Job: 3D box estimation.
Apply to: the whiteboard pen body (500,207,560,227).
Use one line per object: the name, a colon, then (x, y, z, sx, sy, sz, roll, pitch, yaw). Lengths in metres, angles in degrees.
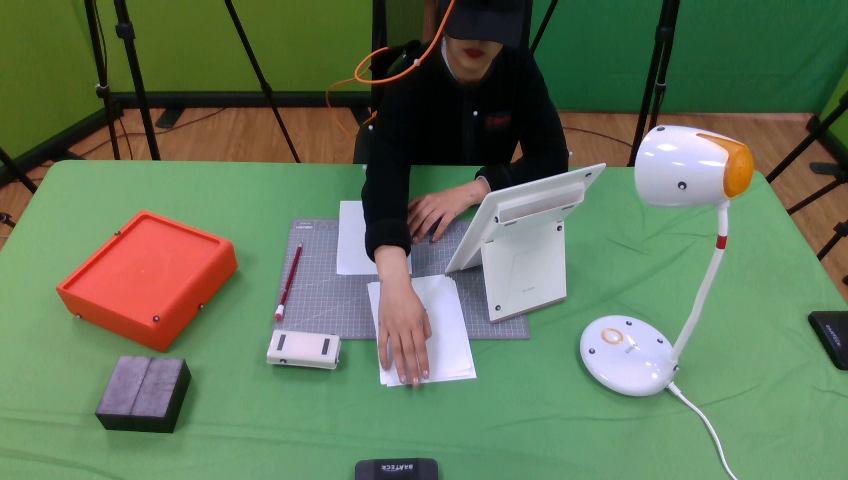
whiteboard pen body: (0.222, -0.051, 1.260, 0.141, 0.017, 0.017, -15, 49, -16)

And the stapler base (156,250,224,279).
stapler base: (-0.431, 0.040, 1.110, 0.130, 0.024, 0.041, 11, 38, 17)

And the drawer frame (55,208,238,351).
drawer frame: (-0.474, 0.062, 1.059, 0.201, 0.083, 0.213, 18, 48, 12)

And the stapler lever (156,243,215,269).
stapler lever: (-0.432, 0.023, 1.097, 0.118, 0.040, 0.026, 14, 39, 14)

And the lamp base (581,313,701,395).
lamp base: (0.361, 0.144, 0.973, 0.178, 0.181, 0.160, 34, 53, 23)

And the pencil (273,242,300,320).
pencil: (-0.249, 0.071, 1.115, 0.012, 0.012, 0.193, 5, 44, 1)

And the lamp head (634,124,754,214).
lamp head: (0.351, -0.089, 0.776, 0.112, 0.113, 0.122, -30, 30, -28)

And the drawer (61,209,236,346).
drawer: (-0.474, 0.061, 1.062, 0.194, 0.073, 0.211, 19, 49, 13)

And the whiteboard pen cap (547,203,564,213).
whiteboard pen cap: (0.277, -0.066, 1.275, 0.033, 0.018, 0.018, -18, 50, -15)

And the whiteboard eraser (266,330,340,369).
whiteboard eraser: (-0.198, 0.181, 0.994, 0.113, 0.042, 0.055, 5, 45, 1)

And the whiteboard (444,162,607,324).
whiteboard: (0.186, 0.025, 1.029, 0.217, 0.306, 0.143, -15, 68, -18)
